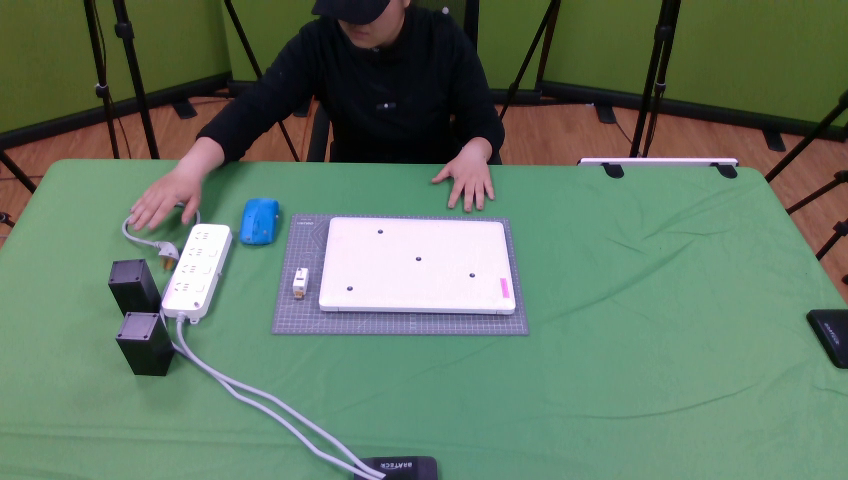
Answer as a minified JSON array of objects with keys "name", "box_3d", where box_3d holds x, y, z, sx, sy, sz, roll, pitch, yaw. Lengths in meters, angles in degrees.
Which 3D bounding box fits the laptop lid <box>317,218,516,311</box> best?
[{"name":"laptop lid","box_3d":[-0.013,0.040,1.143,0.357,0.013,0.240,3,43,-2]}]

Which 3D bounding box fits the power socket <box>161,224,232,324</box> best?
[{"name":"power socket","box_3d":[-0.412,0.053,1.106,0.072,0.033,0.225,4,46,-1]}]

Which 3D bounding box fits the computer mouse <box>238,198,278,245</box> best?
[{"name":"computer mouse","box_3d":[-0.328,-0.039,1.200,0.063,0.041,0.116,4,50,-4]}]

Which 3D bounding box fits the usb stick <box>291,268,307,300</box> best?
[{"name":"usb stick","box_3d":[-0.227,0.081,1.094,0.021,0.027,0.059,4,48,-2]}]

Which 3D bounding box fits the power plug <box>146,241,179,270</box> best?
[{"name":"power plug","box_3d":[-0.489,0.030,1.130,0.072,0.035,0.052,0,64,26]}]

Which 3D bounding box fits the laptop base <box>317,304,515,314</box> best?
[{"name":"laptop base","box_3d":[-0.014,0.049,1.150,0.354,0.023,0.234,1,42,-3]}]
